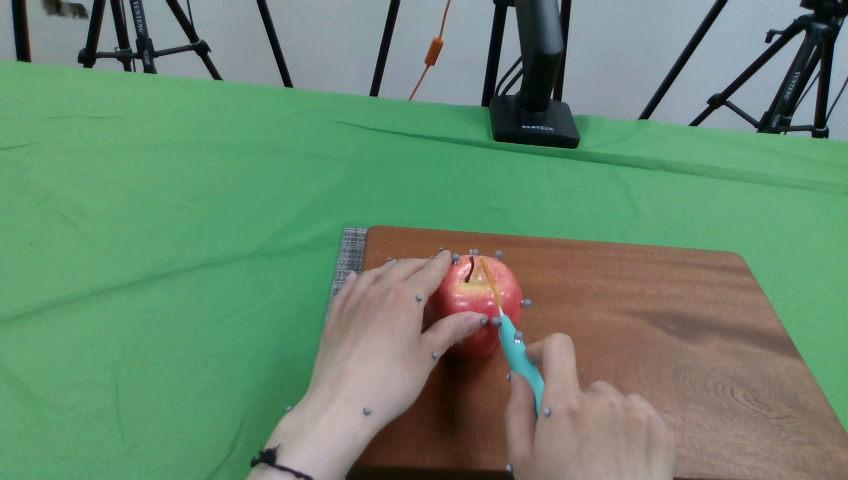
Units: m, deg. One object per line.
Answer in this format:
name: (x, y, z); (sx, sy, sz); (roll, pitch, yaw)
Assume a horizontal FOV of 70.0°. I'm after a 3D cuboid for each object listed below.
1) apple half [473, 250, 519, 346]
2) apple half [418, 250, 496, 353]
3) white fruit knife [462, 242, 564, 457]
apple half: (0.060, 0.049, 0.503); (0.033, 0.082, 0.080); (-7, 42, -12)
apple half: (0.022, 0.053, 0.494); (0.053, 0.075, 0.080); (-10, 47, -11)
white fruit knife: (0.057, 0.065, 0.453); (0.016, 0.027, 0.205); (-1, 37, -17)
